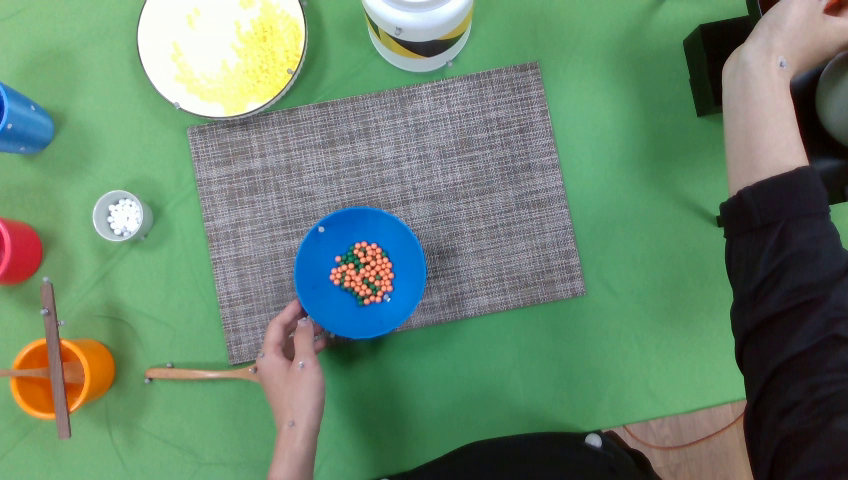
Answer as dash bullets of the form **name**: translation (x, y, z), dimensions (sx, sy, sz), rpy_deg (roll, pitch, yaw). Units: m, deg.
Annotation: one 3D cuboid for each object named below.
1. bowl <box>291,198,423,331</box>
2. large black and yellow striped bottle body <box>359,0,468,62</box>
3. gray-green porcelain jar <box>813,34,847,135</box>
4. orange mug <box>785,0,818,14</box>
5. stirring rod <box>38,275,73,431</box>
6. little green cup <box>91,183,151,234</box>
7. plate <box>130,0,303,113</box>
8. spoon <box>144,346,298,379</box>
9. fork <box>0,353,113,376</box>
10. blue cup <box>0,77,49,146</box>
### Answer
- **bowl**: translation (-0.074, 0.029, 0.716), dimensions (0.151, 0.077, 0.151), rpy_deg (0, 88, 0)
- **large black and yellow striped bottle body**: translation (-0.012, -0.291, 0.678), dimensions (0.131, 0.184, 0.130), rpy_deg (0, 87, 0)
- **gray-green porcelain jar**: translation (0.418, -0.148, 0.524), dimensions (0.106, 0.126, 0.105), rpy_deg (0, 88, 1)
- **orange mug**: translation (0.374, -0.270, 0.540), dimensions (0.083, 0.101, 0.126), rpy_deg (29, 85, 3)
- **stirring rod**: translation (-0.412, 0.126, 0.678), dimensions (0.014, 0.006, 0.176), rpy_deg (-9, 88, -2)
- **little green cup**: translation (-0.367, -0.036, 0.741), dimensions (0.061, 0.038, 0.061), rpy_deg (0, 88, 1)
- **plate**: translation (-0.251, -0.257, 0.749), dimensions (0.209, 0.038, 0.209), rpy_deg (0, 88, 0)
- **spoon**: translation (-0.249, 0.151, 0.743), dimensions (0.194, 0.021, 0.042), rpy_deg (-1, 103, -1)
- **fork**: translation (-0.463, 0.140, 0.679), dimensions (0.209, 0.018, 0.028), rpy_deg (11, 89, -43)
- **blue cup**: translation (-0.501, -0.150, 0.712), dimensions (0.092, 0.100, 0.092), rpy_deg (0, 89, 2)
